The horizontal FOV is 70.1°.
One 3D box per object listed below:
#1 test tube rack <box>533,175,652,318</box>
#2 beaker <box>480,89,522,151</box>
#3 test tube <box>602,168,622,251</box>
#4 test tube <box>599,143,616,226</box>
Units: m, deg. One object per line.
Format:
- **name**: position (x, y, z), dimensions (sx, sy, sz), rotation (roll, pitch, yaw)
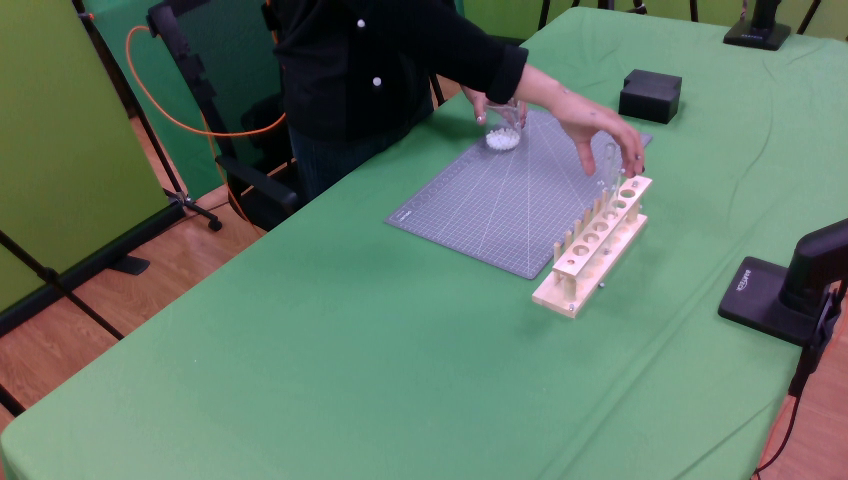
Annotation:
- **test tube rack**: position (0.251, -0.001, 0.888), dimensions (0.066, 0.085, 0.243), rotation (22, 49, 33)
- **beaker**: position (0.153, -0.227, 1.160), dimensions (0.074, 0.101, 0.083), rotation (-32, 46, -23)
- **test tube**: position (0.264, -0.039, 0.853), dimensions (0.017, 0.151, 0.017), rotation (-5, 44, 5)
- **test tube**: position (0.274, -0.081, 0.909), dimensions (0.017, 0.151, 0.017), rotation (-4, 42, 4)
